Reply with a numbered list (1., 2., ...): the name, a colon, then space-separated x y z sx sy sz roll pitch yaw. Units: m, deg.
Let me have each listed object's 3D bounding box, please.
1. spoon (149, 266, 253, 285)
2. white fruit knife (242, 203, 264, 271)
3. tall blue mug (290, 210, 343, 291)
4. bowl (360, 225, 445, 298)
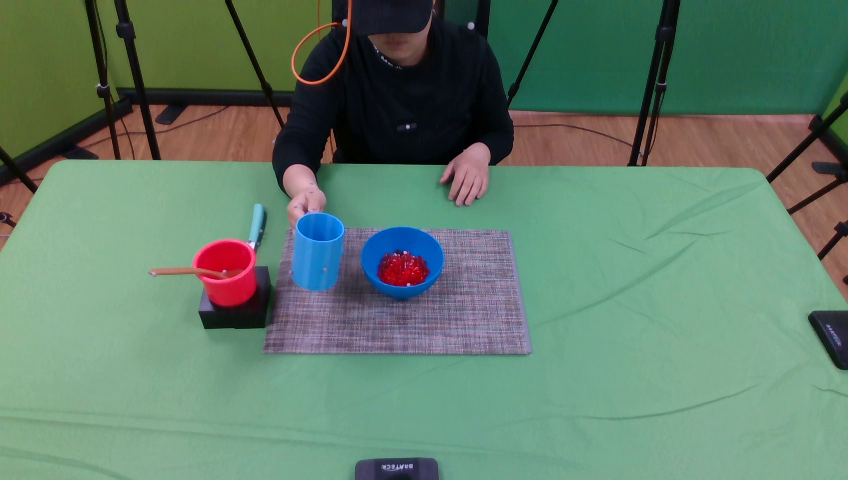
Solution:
1. spoon: -0.351 0.052 0.968 0.041 0.021 0.194 41 13 28
2. white fruit knife: -0.334 0.000 1.178 0.027 0.016 0.206 -18 46 16
3. tall blue mug: -0.187 0.010 0.994 0.106 0.108 0.078 37 44 25
4. bowl: -0.040 0.053 1.099 0.151 0.077 0.150 2 46 -2
